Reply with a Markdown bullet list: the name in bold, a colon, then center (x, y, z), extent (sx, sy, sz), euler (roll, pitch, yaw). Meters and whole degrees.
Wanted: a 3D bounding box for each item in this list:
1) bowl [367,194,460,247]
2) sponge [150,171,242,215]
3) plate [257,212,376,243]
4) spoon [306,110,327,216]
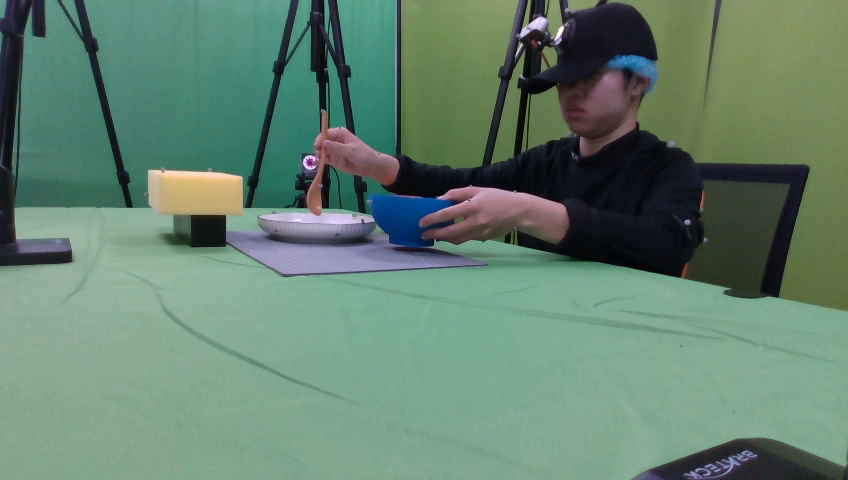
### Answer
- **bowl**: center (-0.020, -0.031, 0.974), extent (0.151, 0.077, 0.151), euler (4, 5, 0)
- **sponge**: center (-0.379, -0.079, 0.994), extent (0.119, 0.061, 0.206), euler (-1, 8, -29)
- **plate**: center (-0.189, -0.023, 1.072), extent (0.209, 0.038, 0.209), euler (3, 7, 0)
- **spoon**: center (-0.189, -0.140, 1.097), extent (0.021, 0.193, 0.042), euler (7, -4, 28)
